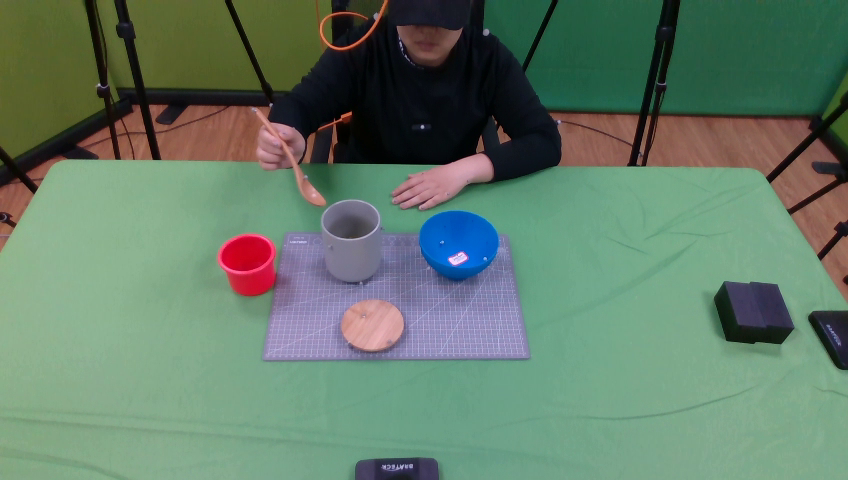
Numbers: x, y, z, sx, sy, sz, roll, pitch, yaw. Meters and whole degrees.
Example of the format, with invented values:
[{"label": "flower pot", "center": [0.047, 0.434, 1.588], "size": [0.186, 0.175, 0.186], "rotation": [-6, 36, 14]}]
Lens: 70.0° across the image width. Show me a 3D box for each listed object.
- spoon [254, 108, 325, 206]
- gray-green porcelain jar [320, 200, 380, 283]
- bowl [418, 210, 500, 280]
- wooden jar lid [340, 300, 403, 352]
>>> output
[{"label": "spoon", "center": [-0.223, -0.137, 1.007], "size": [0.194, 0.021, 0.041], "rotation": [60, 26, -5]}, {"label": "gray-green porcelain jar", "center": [-0.132, 0.007, 1.106], "size": [0.106, 0.127, 0.105], "rotation": [2, 46, -2]}, {"label": "bowl", "center": [0.062, 0.022, 1.140], "size": [0.151, 0.077, 0.150], "rotation": [2, 46, -2]}, {"label": "wooden jar lid", "center": [-0.090, 0.150, 1.046], "size": [0.108, 0.021, 0.107], "rotation": [3, 47, -3]}]
